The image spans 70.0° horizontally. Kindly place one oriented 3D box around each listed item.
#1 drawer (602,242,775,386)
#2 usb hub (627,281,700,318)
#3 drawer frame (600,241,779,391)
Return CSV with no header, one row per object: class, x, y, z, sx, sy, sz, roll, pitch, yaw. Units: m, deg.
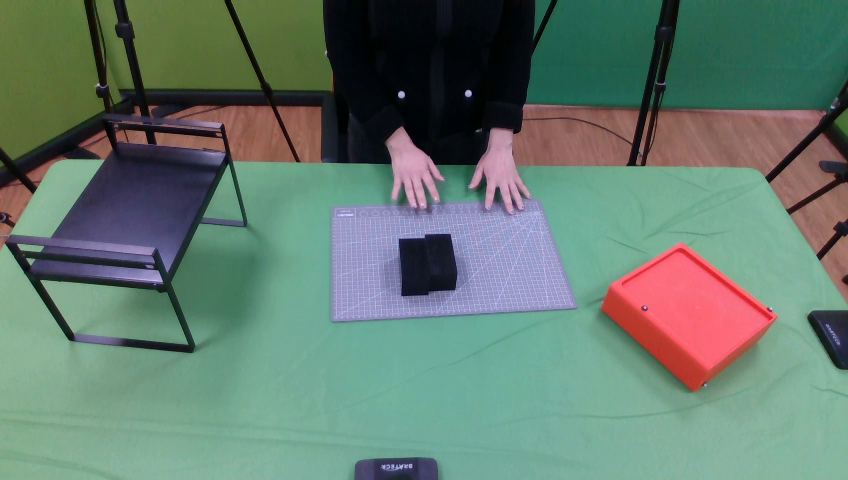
drawer,0.460,0.124,1.067,0.194,0.073,0.210,-25,52,-26
usb hub,0.436,0.109,1.101,0.125,0.025,0.049,-9,46,-19
drawer frame,0.462,0.124,1.066,0.202,0.083,0.212,-26,54,-26
